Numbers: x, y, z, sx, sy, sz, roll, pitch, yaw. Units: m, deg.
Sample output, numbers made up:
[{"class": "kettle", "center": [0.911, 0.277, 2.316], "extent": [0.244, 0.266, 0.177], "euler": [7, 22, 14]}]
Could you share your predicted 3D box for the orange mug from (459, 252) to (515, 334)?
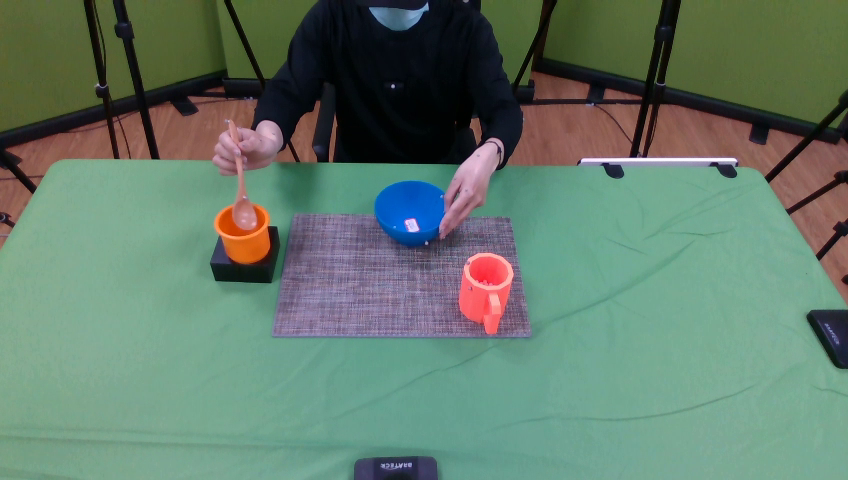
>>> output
[{"class": "orange mug", "center": [0.111, 0.096, 1.052], "extent": [0.083, 0.101, 0.125], "euler": [-4, 42, -7]}]

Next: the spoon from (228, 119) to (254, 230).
[{"class": "spoon", "center": [-0.320, -0.114, 1.049], "extent": [0.042, 0.193, 0.021], "euler": [-6, 2, -40]}]

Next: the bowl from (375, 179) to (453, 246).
[{"class": "bowl", "center": [-0.021, -0.042, 1.190], "extent": [0.151, 0.077, 0.150], "euler": [1, 46, -1]}]
